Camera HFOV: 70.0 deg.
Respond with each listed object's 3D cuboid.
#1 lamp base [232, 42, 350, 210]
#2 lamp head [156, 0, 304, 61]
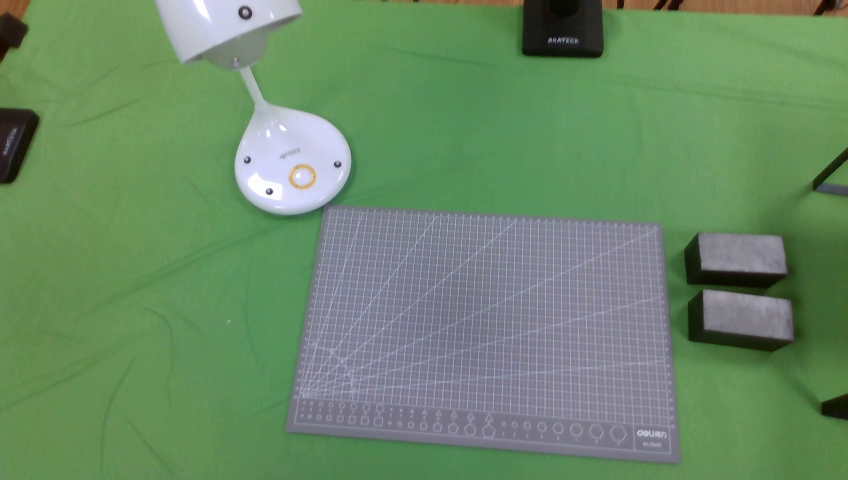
[{"bbox_3d":[-0.193,-0.153,0.773,0.160,0.181,0.177,-35,67,-12],"label":"lamp base"},{"bbox_3d":[-0.173,-0.221,0.492,0.112,0.111,0.123,-27,105,-9],"label":"lamp head"}]
